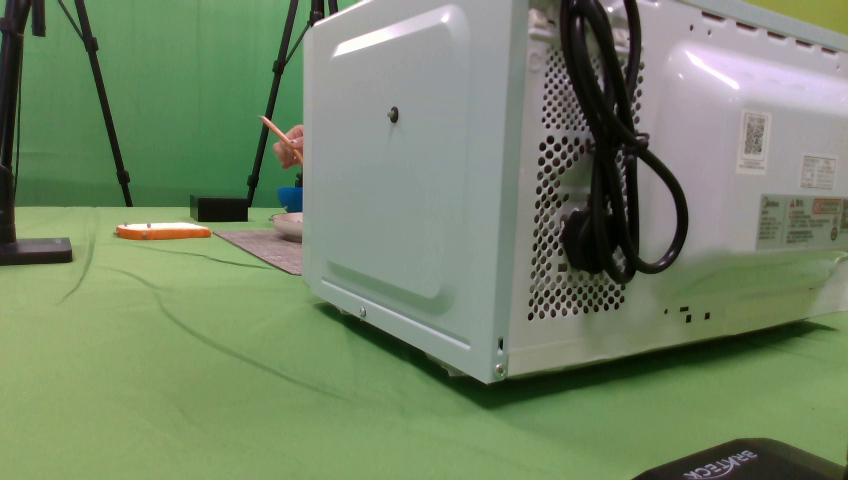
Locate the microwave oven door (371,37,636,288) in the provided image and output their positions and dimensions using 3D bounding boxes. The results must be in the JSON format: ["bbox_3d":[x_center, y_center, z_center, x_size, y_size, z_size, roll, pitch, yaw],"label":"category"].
[{"bbox_3d":[0.110,-0.080,0.686,0.358,0.243,0.039,-2,9,-33],"label":"microwave oven door"}]

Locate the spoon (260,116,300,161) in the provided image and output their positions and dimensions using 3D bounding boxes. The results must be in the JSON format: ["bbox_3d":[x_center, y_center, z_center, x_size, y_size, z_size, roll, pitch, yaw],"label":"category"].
[{"bbox_3d":[-0.226,-0.151,1.069,0.021,0.193,0.042,-42,-7,26],"label":"spoon"}]

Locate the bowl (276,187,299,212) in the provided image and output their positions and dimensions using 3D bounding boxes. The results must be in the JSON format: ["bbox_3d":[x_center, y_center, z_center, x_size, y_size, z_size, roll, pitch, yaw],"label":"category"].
[{"bbox_3d":[-0.241,-0.073,1.303,0.151,0.077,0.151,2,7,0],"label":"bowl"}]

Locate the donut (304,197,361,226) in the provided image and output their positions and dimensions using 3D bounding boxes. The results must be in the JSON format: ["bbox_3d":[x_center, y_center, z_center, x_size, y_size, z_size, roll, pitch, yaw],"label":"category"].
[{"bbox_3d":[-0.159,-0.050,1.055,0.099,0.048,0.099,3,8,0],"label":"donut"}]

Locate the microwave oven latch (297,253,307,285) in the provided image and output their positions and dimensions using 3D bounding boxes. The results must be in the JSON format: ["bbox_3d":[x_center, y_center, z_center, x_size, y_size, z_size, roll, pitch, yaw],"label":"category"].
[{"bbox_3d":[-0.081,0.027,0.582,0.079,0.029,0.030,-1,7,-32],"label":"microwave oven latch"}]

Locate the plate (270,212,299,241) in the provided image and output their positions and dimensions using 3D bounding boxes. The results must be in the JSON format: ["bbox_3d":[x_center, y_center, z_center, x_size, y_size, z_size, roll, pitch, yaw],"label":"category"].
[{"bbox_3d":[-0.162,-0.022,1.057,0.208,0.039,0.207,2,7,0],"label":"plate"}]

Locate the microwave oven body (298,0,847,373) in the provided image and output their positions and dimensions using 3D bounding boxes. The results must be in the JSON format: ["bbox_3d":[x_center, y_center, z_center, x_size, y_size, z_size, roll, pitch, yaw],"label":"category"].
[{"bbox_3d":[0.151,-0.055,0.542,0.444,0.260,0.324,-2,7,-33],"label":"microwave oven body"}]

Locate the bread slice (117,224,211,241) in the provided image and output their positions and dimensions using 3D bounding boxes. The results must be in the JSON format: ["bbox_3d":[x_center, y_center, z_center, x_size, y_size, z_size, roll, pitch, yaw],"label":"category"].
[{"bbox_3d":[-0.443,-0.015,1.022,0.132,0.019,0.104,-4,8,-45],"label":"bread slice"}]

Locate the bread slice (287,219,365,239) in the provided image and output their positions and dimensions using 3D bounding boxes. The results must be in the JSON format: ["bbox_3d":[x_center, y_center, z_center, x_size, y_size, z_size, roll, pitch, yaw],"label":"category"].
[{"bbox_3d":[-0.170,-0.020,1.056,0.134,0.018,0.107,4,7,-6],"label":"bread slice"}]
